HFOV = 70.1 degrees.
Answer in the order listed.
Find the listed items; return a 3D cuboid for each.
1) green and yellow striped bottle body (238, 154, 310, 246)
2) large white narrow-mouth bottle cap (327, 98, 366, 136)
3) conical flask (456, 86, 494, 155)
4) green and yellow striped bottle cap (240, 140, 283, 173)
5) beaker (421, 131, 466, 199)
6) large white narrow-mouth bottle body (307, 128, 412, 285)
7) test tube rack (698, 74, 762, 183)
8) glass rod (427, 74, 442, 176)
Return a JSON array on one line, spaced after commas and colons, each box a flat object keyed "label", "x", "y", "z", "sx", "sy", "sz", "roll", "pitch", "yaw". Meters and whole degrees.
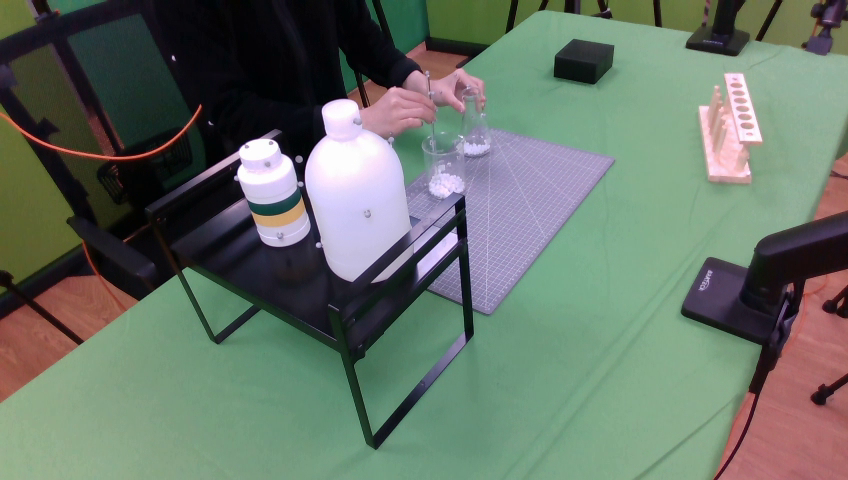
[{"label": "green and yellow striped bottle body", "x": -0.178, "y": -0.056, "z": 0.714, "sx": 0.063, "sy": 0.120, "sz": 0.063, "roll": -4, "pitch": 40, "yaw": 4}, {"label": "large white narrow-mouth bottle cap", "x": -0.075, "y": -0.118, "z": 0.581, "sx": 0.038, "sy": 0.024, "sz": 0.037, "roll": -3, "pitch": 40, "yaw": 3}, {"label": "conical flask", "x": 0.094, "y": -0.228, "z": 1.143, "sx": 0.075, "sy": 0.122, "sz": 0.075, "roll": -4, "pitch": 43, "yaw": 5}, {"label": "green and yellow striped bottle cap", "x": -0.183, "y": -0.094, "z": 0.679, "sx": 0.045, "sy": 0.020, "sz": 0.045, "roll": -4, "pitch": 38, "yaw": 4}, {"label": "beaker", "x": 0.040, "y": -0.130, "z": 1.060, "sx": 0.084, "sy": 0.100, "sz": 0.073, "roll": -24, "pitch": 44, "yaw": -20}, {"label": "large white narrow-mouth bottle body", "x": -0.070, "y": -0.051, "z": 0.638, "sx": 0.102, "sy": 0.195, "sz": 0.101, "roll": -3, "pitch": 40, "yaw": 3}, {"label": "test tube rack", "x": 0.547, "y": -0.208, "z": 1.095, "sx": 0.066, "sy": 0.085, "sz": 0.242, "roll": 5, "pitch": 42, "yaw": 15}, {"label": "glass rod", "x": 0.019, "y": -0.191, "z": 1.031, "sx": 0.008, "sy": 0.200, "sz": 0.008, "roll": -5, "pitch": 42, "yaw": 5}]
